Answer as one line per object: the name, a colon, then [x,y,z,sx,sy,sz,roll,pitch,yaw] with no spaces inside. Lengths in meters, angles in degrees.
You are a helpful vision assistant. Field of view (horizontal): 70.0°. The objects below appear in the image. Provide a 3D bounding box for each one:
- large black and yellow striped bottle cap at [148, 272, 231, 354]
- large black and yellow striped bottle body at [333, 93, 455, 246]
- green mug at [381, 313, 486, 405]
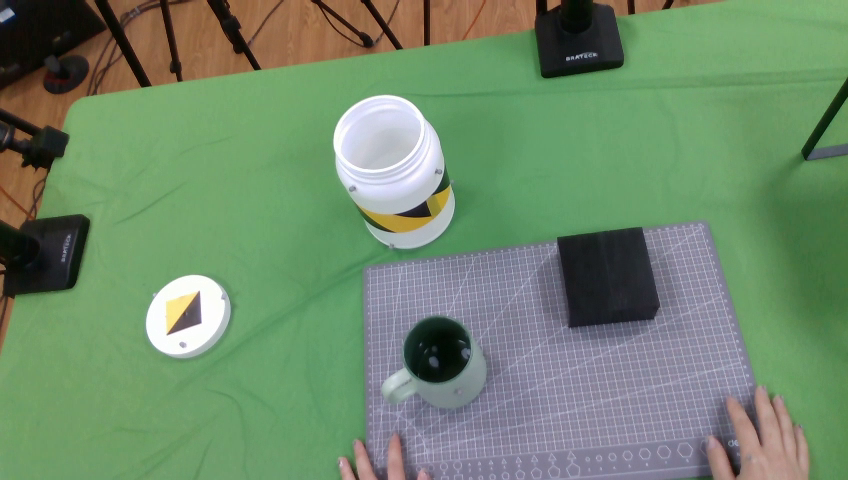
large black and yellow striped bottle cap: [-0.323,0.099,0.833,0.115,0.019,0.114,-4,63,9]
large black and yellow striped bottle body: [-0.036,-0.086,0.771,0.130,0.185,0.129,-4,63,9]
green mug: [0.008,0.146,0.695,0.125,0.106,0.091,-31,63,-5]
